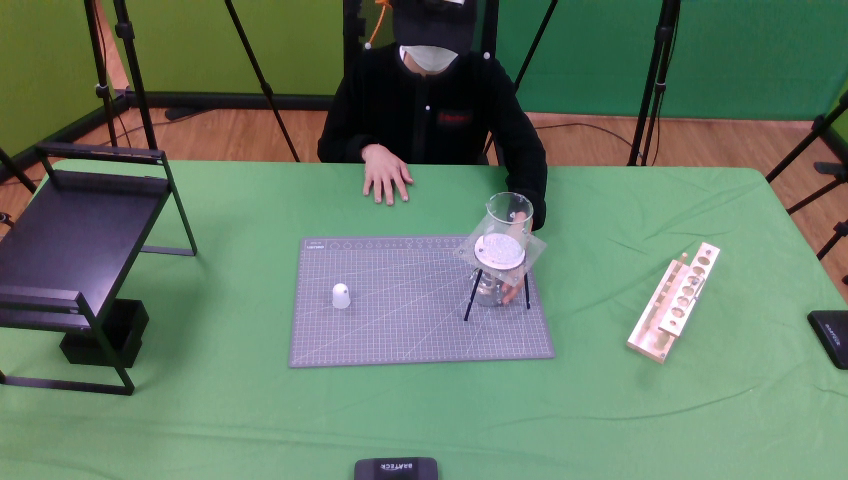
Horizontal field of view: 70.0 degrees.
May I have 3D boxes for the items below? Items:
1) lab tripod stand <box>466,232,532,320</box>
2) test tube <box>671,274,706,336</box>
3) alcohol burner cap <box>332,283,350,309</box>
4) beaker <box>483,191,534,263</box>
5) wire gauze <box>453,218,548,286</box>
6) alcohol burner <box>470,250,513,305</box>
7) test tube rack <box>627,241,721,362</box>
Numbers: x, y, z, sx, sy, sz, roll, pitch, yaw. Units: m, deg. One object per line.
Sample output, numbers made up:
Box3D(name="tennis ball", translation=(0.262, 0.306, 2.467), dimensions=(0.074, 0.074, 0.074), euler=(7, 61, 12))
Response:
Box3D(name="lab tripod stand", translation=(0.125, 0.060, 1.065), dimensions=(0.148, 0.132, 0.147), euler=(1, 45, 0))
Box3D(name="test tube", translation=(0.429, 0.112, 1.004), dimensions=(0.017, 0.151, 0.017), euler=(4, 43, -4))
Box3D(name="alcohol burner cap", translation=(-0.148, 0.096, 1.075), dimensions=(0.034, 0.048, 0.033), euler=(3, 46, -3))
Box3D(name="beaker", translation=(0.135, -0.020, 0.983), dimensions=(0.073, 0.101, 0.084), euler=(28, 50, 23))
Box3D(name="wire gauze", translation=(0.129, 0.014, 1.019), dimensions=(0.124, 0.011, 0.121), euler=(25, 47, 25))
Box3D(name="alcohol burner", translation=(0.121, 0.061, 1.076), dimensions=(0.078, 0.120, 0.077), euler=(0, 47, 0))
Box3D(name="test tube rack", translation=(0.452, 0.098, 1.087), dimensions=(0.066, 0.085, 0.242), euler=(28, 51, 22))
